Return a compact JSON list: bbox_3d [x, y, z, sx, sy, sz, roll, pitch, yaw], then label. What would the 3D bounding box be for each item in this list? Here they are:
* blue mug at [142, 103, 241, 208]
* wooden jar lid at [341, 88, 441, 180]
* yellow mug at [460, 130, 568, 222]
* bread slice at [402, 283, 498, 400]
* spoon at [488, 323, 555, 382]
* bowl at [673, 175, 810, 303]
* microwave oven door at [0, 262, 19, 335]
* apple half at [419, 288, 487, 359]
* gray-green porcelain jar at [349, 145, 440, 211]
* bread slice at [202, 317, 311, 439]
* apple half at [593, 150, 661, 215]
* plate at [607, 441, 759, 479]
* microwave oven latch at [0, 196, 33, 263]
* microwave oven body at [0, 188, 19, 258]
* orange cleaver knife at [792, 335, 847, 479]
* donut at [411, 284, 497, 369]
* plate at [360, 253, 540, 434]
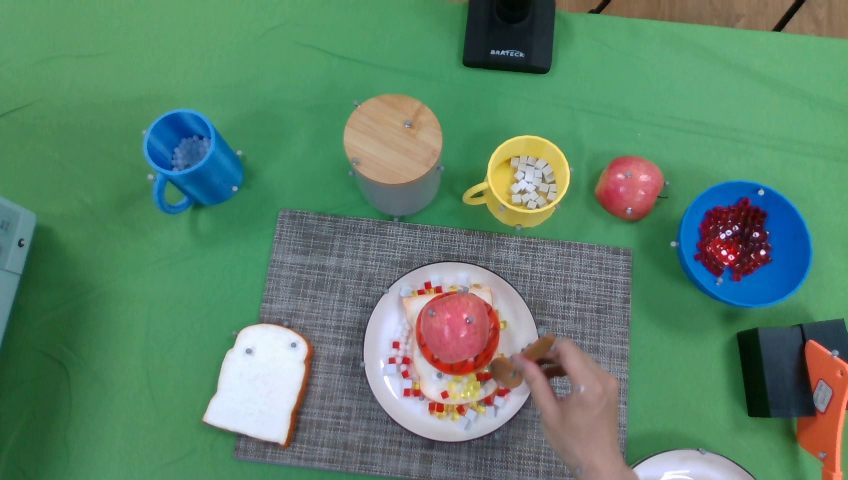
[{"bbox_3d":[-0.286,-0.091,0.733,0.082,0.106,0.116,27,78,7],"label":"blue mug"},{"bbox_3d":[-0.036,-0.114,0.663,0.108,0.021,0.108,1,74,-2],"label":"wooden jar lid"},{"bbox_3d":[0.107,-0.074,0.750,0.131,0.064,0.099,-15,76,-3],"label":"yellow mug"},{"bbox_3d":[0.037,0.120,0.719,0.107,0.018,0.133,-9,71,-2],"label":"bread slice"},{"bbox_3d":[0.098,0.115,0.611,0.041,0.194,0.021,41,71,10],"label":"spoon"},{"bbox_3d":[0.363,0.006,0.724,0.151,0.077,0.150,0,76,1],"label":"bowl"},{"bbox_3d":[-0.530,0.172,0.580,0.039,0.245,0.354,7,76,3],"label":"microwave oven door"},{"bbox_3d":[0.032,0.088,0.655,0.081,0.033,0.081,-2,73,7],"label":"apple half"},{"bbox_3d":[-0.034,-0.098,0.725,0.106,0.127,0.105,0,76,0],"label":"gray-green porcelain jar"},{"bbox_3d":[-0.194,0.157,0.716,0.105,0.019,0.131,14,78,2],"label":"bread slice"},{"bbox_3d":[0.257,-0.078,0.758,0.074,0.053,0.080,29,78,9],"label":"apple half"},{"bbox_3d":[0.287,0.328,0.666,0.209,0.038,0.208,0,76,0],"label":"plate"},{"bbox_3d":[-0.500,-0.014,0.730,0.030,0.029,0.079,10,77,2],"label":"microwave oven latch"},{"bbox_3d":[-0.669,0.115,0.599,0.326,0.261,0.439,7,77,2],"label":"microwave oven body"},{"bbox_3d":[0.437,0.213,0.672,0.012,0.077,0.211,-4,98,-8],"label":"orange cleaver knife"},{"bbox_3d":[0.035,0.098,0.689,0.099,0.048,0.098,0,76,1],"label":"donut"},{"bbox_3d":[0.030,0.120,0.714,0.208,0.039,0.206,0,76,0],"label":"plate"}]
